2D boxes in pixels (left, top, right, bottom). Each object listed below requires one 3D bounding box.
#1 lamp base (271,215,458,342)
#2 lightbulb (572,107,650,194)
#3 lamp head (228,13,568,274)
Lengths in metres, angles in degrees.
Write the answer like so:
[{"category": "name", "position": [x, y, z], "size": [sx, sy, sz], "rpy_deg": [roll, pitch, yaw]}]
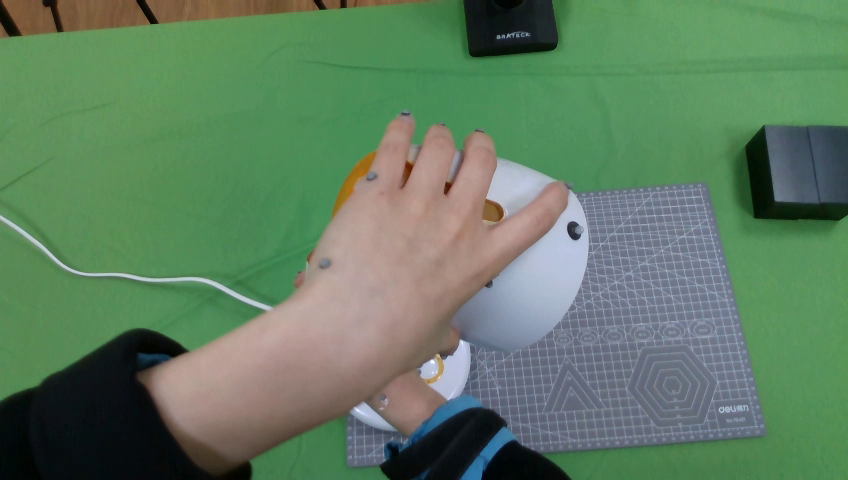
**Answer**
[{"category": "lamp base", "position": [-0.059, 0.012, 0.549], "size": [0.179, 0.181, 0.160], "rpy_deg": [4, 82, 4]}, {"category": "lightbulb", "position": [0.188, -0.096, 0.626], "size": [0.059, 0.060, 0.107], "rpy_deg": [-28, 68, -2]}, {"category": "lamp head", "position": [-0.020, -0.044, 0.263], "size": [0.124, 0.112, 0.112], "rpy_deg": [7, 81, -34]}]
